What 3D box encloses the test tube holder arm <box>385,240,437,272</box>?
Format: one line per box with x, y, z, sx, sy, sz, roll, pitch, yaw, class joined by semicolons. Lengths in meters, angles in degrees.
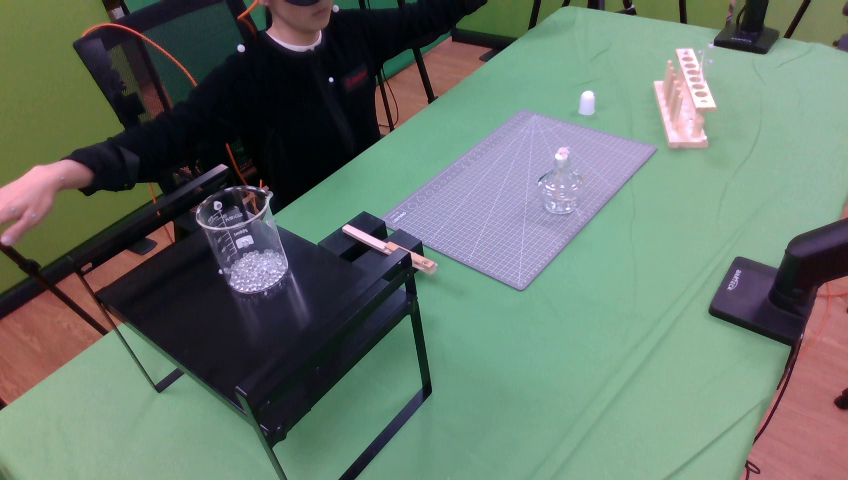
-0.020;0.022;0.872;0.087;0.010;0.015;26;58;31;test tube holder arm

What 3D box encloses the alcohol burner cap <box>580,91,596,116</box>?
0.338;-0.283;1.238;0.034;0.048;0.033;-5;42;5;alcohol burner cap

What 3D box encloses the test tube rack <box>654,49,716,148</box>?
0.502;-0.281;1.176;0.066;0.085;0.241;1;41;11;test tube rack

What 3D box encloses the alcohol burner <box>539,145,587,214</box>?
0.226;-0.102;0.986;0.078;0.119;0.077;-6;41;6;alcohol burner

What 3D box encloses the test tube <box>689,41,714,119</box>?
0.509;-0.291;1.111;0.017;0.151;0.017;-3;39;3;test tube

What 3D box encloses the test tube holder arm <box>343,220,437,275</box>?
-0.054;0.009;0.899;0.177;0.013;0.015;26;58;30;test tube holder arm

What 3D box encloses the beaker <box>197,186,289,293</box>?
-0.192;0.001;0.666;0.084;0.101;0.073;-32;46;-27;beaker
